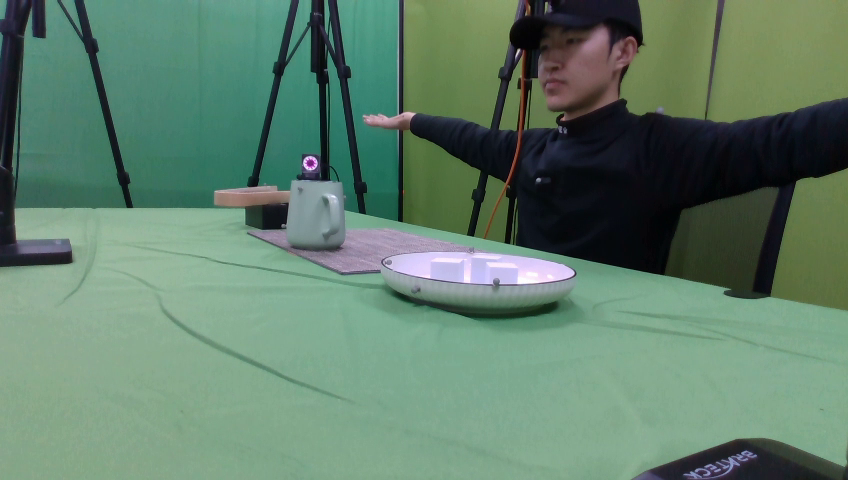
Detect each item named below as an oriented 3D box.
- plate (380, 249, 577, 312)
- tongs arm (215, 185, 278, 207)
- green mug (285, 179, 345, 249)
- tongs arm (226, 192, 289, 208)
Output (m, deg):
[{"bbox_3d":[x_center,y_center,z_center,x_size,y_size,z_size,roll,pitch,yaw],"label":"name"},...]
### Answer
[{"bbox_3d":[0.056,0.042,0.646,0.209,0.038,0.209,2,7,0],"label":"plate"},{"bbox_3d":[-0.363,-0.098,1.297,0.051,0.026,0.385,7,7,6],"label":"tongs arm"},{"bbox_3d":[-0.161,-0.040,0.936,0.093,0.105,0.124,-2,8,-32],"label":"green mug"},{"bbox_3d":[-0.286,-0.091,1.284,0.028,0.028,0.389,12,10,18],"label":"tongs arm"}]
